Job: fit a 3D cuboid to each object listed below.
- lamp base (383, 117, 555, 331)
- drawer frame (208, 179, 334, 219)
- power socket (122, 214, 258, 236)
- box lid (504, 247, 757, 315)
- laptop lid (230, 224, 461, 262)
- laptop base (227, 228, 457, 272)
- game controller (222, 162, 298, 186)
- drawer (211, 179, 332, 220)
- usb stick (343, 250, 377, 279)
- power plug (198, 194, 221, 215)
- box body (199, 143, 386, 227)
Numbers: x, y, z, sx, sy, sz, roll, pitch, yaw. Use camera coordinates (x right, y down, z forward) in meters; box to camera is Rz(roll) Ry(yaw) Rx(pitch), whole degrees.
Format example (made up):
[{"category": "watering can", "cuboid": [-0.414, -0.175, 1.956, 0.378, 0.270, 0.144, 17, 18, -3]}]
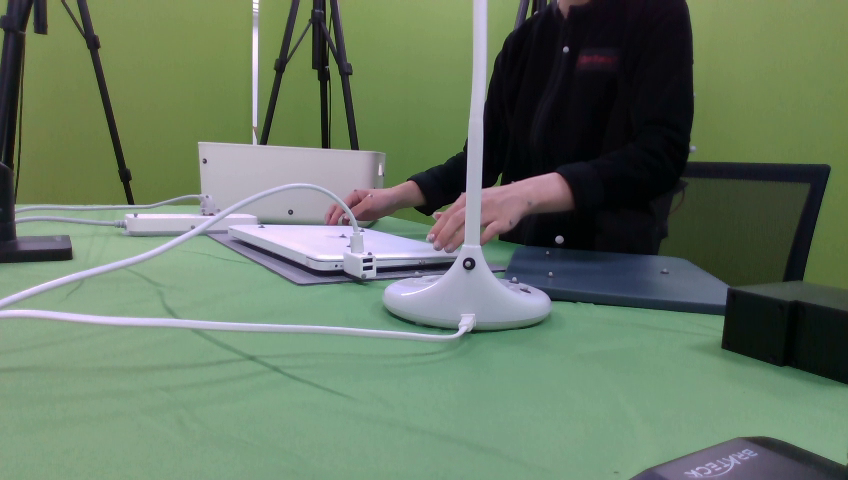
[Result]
[{"category": "lamp base", "cuboid": [0.045, -0.019, 0.547, 0.161, 0.180, 0.179, 2, 10, -4]}, {"category": "drawer frame", "cuboid": [-0.326, -0.093, 1.328, 0.213, 0.082, 0.202, -1, 5, 6]}, {"category": "power socket", "cuboid": [-0.399, -0.028, 1.049, 0.228, 0.032, 0.072, -3, 8, -34]}, {"category": "box lid", "cuboid": [0.244, 0.044, 0.793, 0.263, 0.015, 0.372, 4, 7, 10]}, {"category": "laptop lid", "cuboid": [-0.120, 0.000, 0.889, 0.243, 0.013, 0.355, 1, 7, -33]}, {"category": "laptop base", "cuboid": [-0.122, 0.012, 0.889, 0.237, 0.023, 0.352, 1, 7, -35]}, {"category": "game controller", "cuboid": [-0.357, -0.143, 1.322, 0.156, 0.051, 0.097, 1, 2, -16]}, {"category": "drawer", "cuboid": [-0.328, -0.095, 1.332, 0.212, 0.073, 0.194, 5, 8, 6]}, {"category": "usb stick", "cuboid": [-0.076, 0.026, 0.687, 0.021, 0.027, 0.059, -8, 8, -31]}, {"category": "power plug", "cuboid": [-0.387, -0.055, 1.089, 0.035, 0.052, 0.072, -1, 7, -22]}, {"category": "box body", "cuboid": [-0.276, -0.124, 1.335, 0.364, 0.160, 0.254, 3, 7, 1]}]
